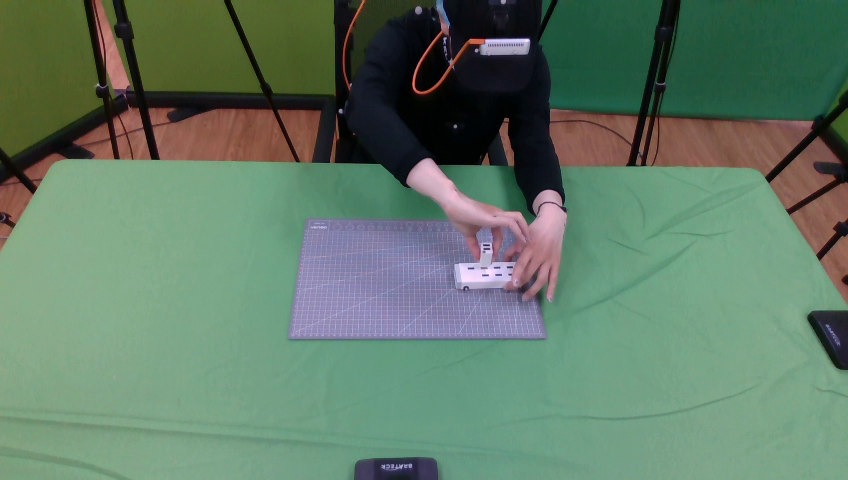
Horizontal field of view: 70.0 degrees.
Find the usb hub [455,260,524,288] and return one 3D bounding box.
[{"bbox_3d":[0.122,0.064,1.134,0.125,0.025,0.049,-2,47,-5],"label":"usb hub"}]

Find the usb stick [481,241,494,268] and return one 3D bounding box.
[{"bbox_3d":[0.116,0.029,1.113,0.021,0.059,0.027,-1,51,0],"label":"usb stick"}]
